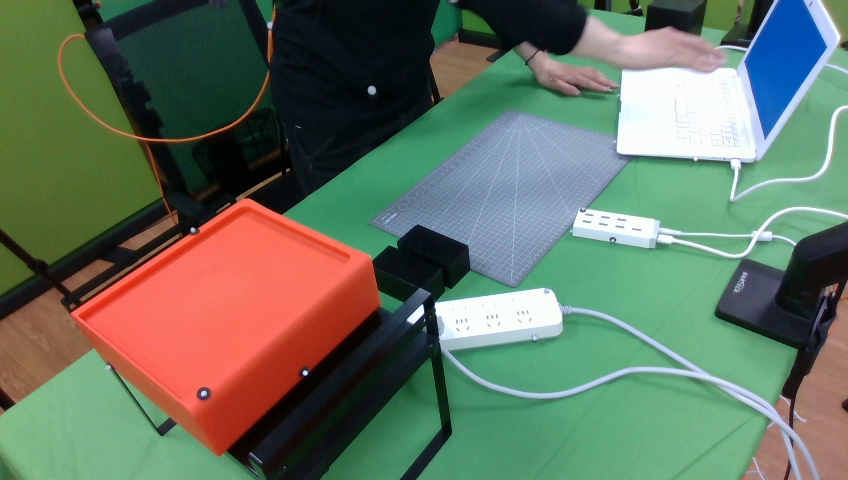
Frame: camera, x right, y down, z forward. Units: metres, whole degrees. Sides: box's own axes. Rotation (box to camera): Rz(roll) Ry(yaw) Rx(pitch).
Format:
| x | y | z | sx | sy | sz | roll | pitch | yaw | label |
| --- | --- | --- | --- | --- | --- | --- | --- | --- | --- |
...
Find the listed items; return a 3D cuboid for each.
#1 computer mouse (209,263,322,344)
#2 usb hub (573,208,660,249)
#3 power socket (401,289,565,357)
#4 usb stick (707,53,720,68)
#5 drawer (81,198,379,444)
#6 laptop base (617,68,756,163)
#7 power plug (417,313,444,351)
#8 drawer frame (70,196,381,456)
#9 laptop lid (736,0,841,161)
| x | y | z | sx | sy | sz | roll | pitch | yaw | label |
| --- | --- | --- | --- | --- | --- | --- | --- | --- | --- |
| -0.165 | 0.062 | 0.624 | 0.116 | 0.041 | 0.063 | 23 | 44 | 27 | computer mouse |
| 0.302 | -0.019 | 0.950 | 0.124 | 0.025 | 0.049 | 11 | 43 | 20 | usb hub |
| 0.081 | 0.112 | 0.822 | 0.227 | 0.033 | 0.072 | -7 | 41 | 0 | power socket |
| 0.629 | -0.382 | 1.313 | 0.021 | 0.027 | 0.059 | 2 | 46 | 17 | usb stick |
| -0.186 | 0.065 | 0.600 | 0.193 | 0.073 | 0.212 | 24 | 50 | 31 | drawer |
| 0.509 | -0.255 | 1.201 | 0.234 | 0.023 | 0.353 | 4 | 41 | 16 | laptop base |
| 0.007 | 0.127 | 0.786 | 0.035 | 0.053 | 0.072 | 0 | 43 | 8 | power plug |
| -0.186 | 0.068 | 0.597 | 0.200 | 0.083 | 0.214 | 23 | 49 | 30 | drawer frame |
| 0.641 | -0.327 | 1.090 | 0.013 | 0.242 | 0.356 | 17 | 43 | 5 | laptop lid |
